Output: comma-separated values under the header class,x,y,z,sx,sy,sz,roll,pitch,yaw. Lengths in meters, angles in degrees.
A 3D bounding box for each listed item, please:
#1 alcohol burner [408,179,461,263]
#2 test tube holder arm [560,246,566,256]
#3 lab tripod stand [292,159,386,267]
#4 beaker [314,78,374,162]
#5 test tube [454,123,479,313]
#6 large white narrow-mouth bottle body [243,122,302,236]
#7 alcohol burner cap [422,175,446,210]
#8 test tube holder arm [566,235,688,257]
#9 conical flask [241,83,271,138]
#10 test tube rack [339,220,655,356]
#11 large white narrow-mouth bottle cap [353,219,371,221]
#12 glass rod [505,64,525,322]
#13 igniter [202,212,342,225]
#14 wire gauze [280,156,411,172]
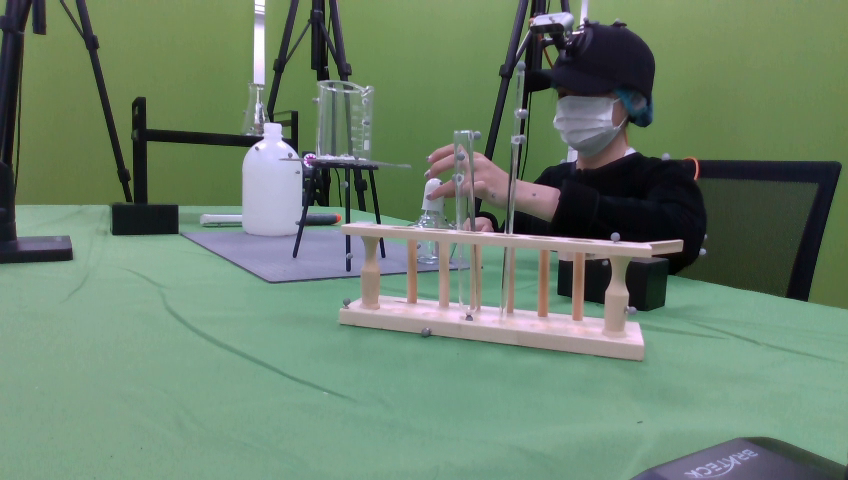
class,x,y,z,sx,sy,sz,roll,pitch,yaw
alcohol burner,0.013,-0.029,0.834,0.078,0.119,0.078,0,6,0
test tube holder arm,0.173,0.007,0.611,0.088,0.015,0.010,-3,10,-30
lab tripod stand,-0.105,-0.039,0.797,0.148,0.131,0.148,2,5,0
beaker,-0.101,-0.150,0.773,0.074,0.100,0.083,-2,8,-40
test tube,0.034,-0.016,0.477,0.017,0.150,0.017,-2,9,1
large white narrow-mouth bottle body,-0.265,-0.109,1.061,0.102,0.194,0.102,2,8,0
alcohol burner cap,0.016,-0.065,0.830,0.034,0.048,0.034,7,4,0
test tube holder arm,0.215,0.006,0.629,0.179,0.015,0.013,-3,10,-30
conical flask,-0.384,-0.297,1.393,0.075,0.122,0.075,2,7,0
test tube rack,0.056,0.032,0.495,0.242,0.085,0.067,4,7,15
large white narrow-mouth bottle cap,-0.121,-0.029,1.184,0.038,0.024,0.037,2,8,0
glass rod,0.069,-0.030,0.458,0.008,0.199,0.008,0,15,0
igniter,-0.298,-0.043,1.216,0.278,0.025,0.057,-3,-2,-32
wire gauze,-0.103,-0.103,0.785,0.121,0.011,0.126,11,8,42
